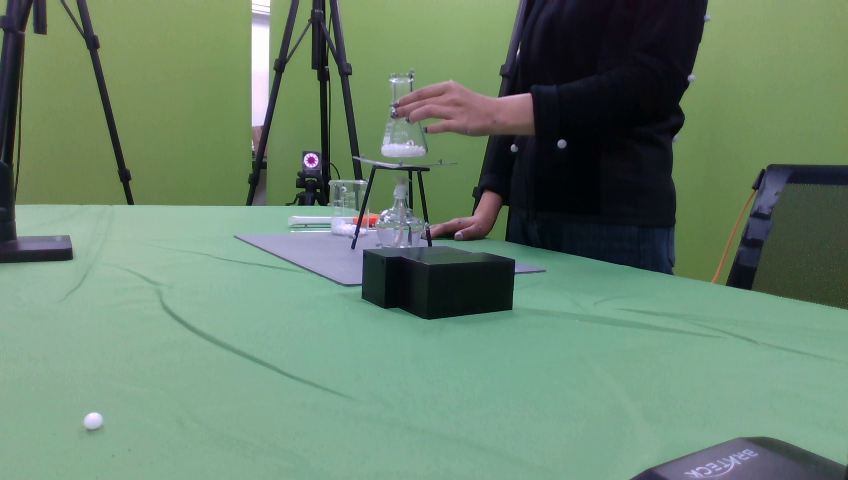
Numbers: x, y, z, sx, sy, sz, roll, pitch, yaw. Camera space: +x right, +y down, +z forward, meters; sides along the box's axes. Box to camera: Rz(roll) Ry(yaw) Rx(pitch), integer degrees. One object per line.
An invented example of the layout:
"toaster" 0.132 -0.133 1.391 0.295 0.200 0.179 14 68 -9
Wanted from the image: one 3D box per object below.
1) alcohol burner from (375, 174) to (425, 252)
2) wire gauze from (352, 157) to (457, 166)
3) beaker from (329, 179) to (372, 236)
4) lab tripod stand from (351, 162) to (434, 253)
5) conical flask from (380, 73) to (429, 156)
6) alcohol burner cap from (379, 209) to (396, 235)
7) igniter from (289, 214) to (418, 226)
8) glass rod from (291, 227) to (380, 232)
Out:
"alcohol burner" -0.036 -0.042 0.934 0.078 0.119 0.078 2 9 0
"wire gauze" -0.029 -0.119 0.927 0.122 0.011 0.124 -3 9 -36
"beaker" -0.137 -0.060 1.101 0.084 0.100 0.074 4 7 20
"lab tripod stand" -0.034 -0.052 0.933 0.148 0.131 0.148 4 7 0
"conical flask" -0.032 -0.189 0.915 0.075 0.122 0.075 -2 10 1
"alcohol burner cap" -0.069 -0.036 1.154 0.034 0.048 0.034 3 8 0
"igniter" -0.141 -0.042 1.258 0.278 0.025 0.057 -1 -2 -30
"glass rod" -0.161 -0.022 1.177 0.201 0.008 0.008 -2 8 -28
